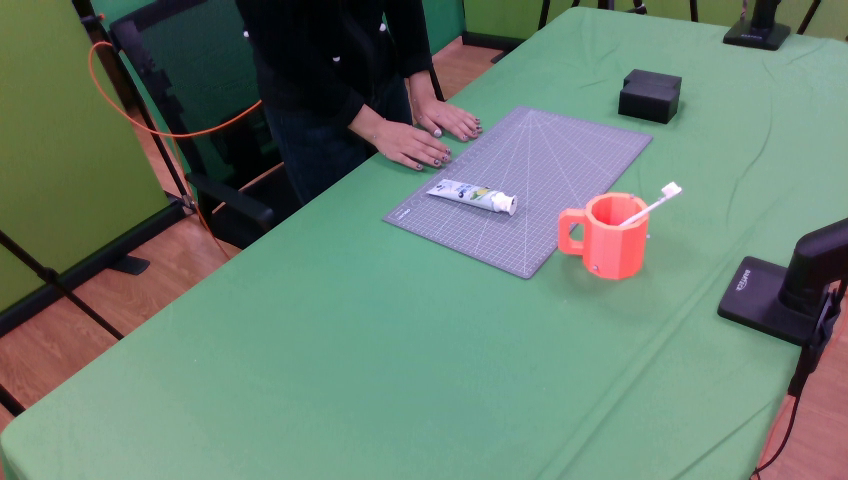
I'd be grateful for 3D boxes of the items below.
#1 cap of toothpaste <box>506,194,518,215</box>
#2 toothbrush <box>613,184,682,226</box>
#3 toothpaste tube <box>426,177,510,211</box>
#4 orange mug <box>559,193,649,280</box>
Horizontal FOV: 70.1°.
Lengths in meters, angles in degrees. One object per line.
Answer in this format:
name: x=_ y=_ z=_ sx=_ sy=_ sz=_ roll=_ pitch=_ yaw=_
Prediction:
cap of toothpaste: x=0.146 y=-0.060 z=1.007 sx=0.011 sy=0.037 sz=0.037 roll=14 pitch=46 yaw=22
toothbrush: x=0.293 y=-0.035 z=0.847 sx=0.017 sy=0.181 sz=0.014 roll=29 pitch=63 yaw=-7
toothpaste tube: x=0.083 y=-0.082 z=1.054 sx=0.164 sy=0.034 sz=0.055 roll=18 pitch=40 yaw=34
orange mug: x=0.261 y=-0.008 z=0.884 sx=0.126 sy=0.101 sz=0.083 roll=9 pitch=43 yaw=14
